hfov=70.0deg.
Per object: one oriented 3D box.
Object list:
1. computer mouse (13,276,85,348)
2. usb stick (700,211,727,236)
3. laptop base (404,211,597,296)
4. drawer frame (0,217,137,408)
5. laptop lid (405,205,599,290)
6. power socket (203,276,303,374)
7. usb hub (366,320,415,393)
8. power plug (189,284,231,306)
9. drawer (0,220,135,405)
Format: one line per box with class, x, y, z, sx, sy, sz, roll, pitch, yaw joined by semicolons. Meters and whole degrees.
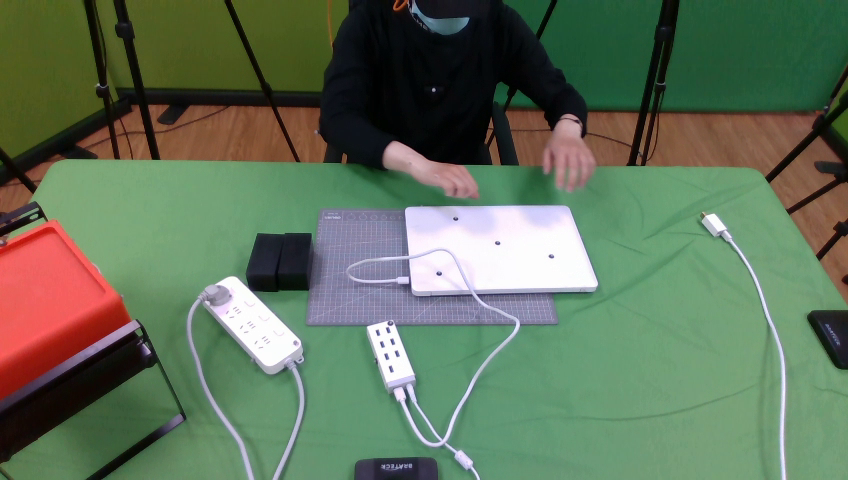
computer mouse;-0.496;0.090;0.804;0.063;0.041;0.116;-7;42;-7
usb stick;0.606;-0.038;1.273;0.027;0.021;0.059;-18;56;-20
laptop base;0.143;0.017;1.195;0.355;0.023;0.234;-1;43;-6
drawer frame;-0.523;0.094;0.779;0.200;0.083;0.213;37;55;26
laptop lid;0.143;0.008;1.189;0.357;0.013;0.240;0;44;-5
power socket;-0.296;0.141;1.034;0.072;0.033;0.225;-35;58;-30
usb hub;-0.056;0.192;1.009;0.049;0.025;0.124;-12;49;-16
power plug;-0.368;0.100;1.037;0.072;0.053;0.035;-24;54;-27
drawer;-0.522;0.093;0.782;0.193;0.073;0.211;38;55;27
